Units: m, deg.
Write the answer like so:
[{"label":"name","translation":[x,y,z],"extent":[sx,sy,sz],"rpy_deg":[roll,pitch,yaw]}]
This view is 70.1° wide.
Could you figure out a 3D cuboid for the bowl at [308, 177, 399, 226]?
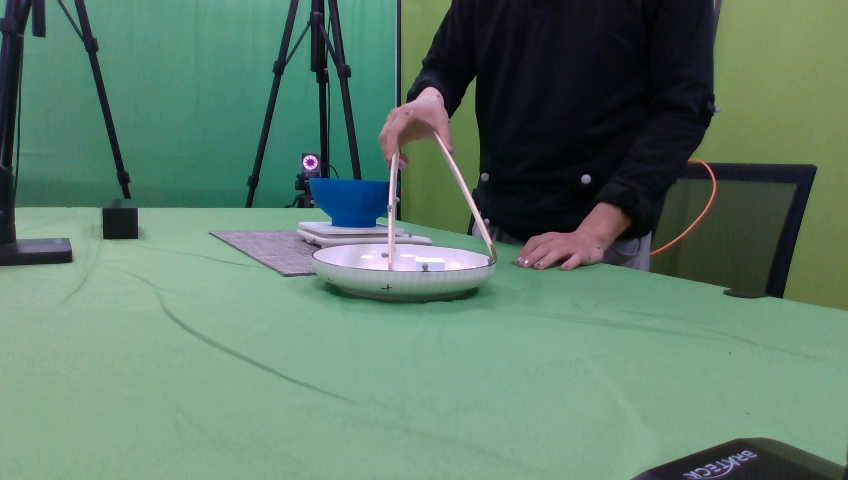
[{"label":"bowl","translation":[-0.116,-0.064,1.001],"extent":[0.151,0.077,0.151],"rpy_deg":[2,6,0]}]

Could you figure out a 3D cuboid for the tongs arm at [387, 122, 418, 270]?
[{"label":"tongs arm","translation":[-0.024,-0.071,0.794],"extent":[0.051,0.026,0.384],"rpy_deg":[-14,31,5]}]

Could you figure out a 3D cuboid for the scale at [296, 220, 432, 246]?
[{"label":"scale","translation":[-0.101,-0.012,1.017],"extent":[0.202,0.031,0.148],"rpy_deg":[-1,8,-30]}]

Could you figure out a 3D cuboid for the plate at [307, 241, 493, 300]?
[{"label":"plate","translation":[-0.026,0.034,0.684],"extent":[0.208,0.039,0.207],"rpy_deg":[2,7,0]}]

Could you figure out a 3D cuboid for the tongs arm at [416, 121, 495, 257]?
[{"label":"tongs arm","translation":[0.035,-0.085,0.792],"extent":[0.028,0.028,0.386],"rpy_deg":[-20,31,0]}]
